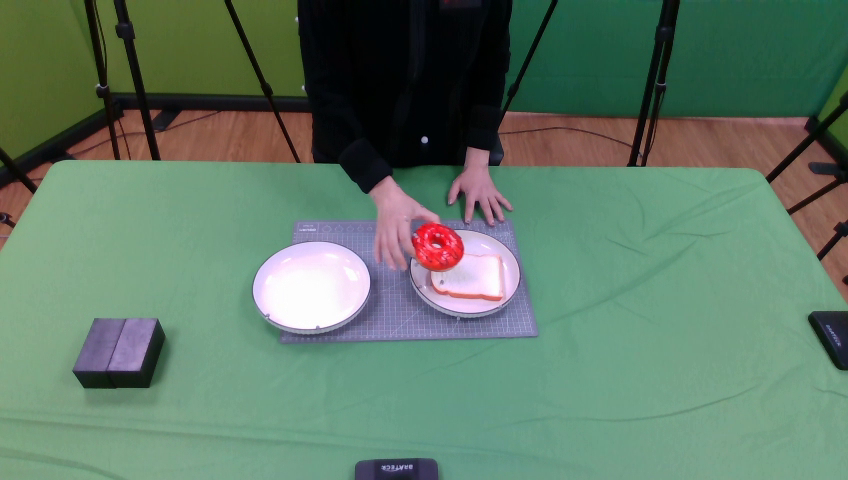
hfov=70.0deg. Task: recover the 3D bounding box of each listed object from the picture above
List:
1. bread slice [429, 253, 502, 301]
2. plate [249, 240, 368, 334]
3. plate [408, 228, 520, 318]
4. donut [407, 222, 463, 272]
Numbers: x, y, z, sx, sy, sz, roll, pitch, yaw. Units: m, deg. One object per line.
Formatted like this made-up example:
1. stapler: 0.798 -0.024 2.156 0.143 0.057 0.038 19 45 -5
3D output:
1. bread slice: 0.077 0.068 1.127 0.134 0.018 0.106 2 46 -4
2. plate: -0.204 0.086 1.084 0.208 0.039 0.206 2 46 -2
3. plate: 0.074 0.063 1.128 0.209 0.038 0.208 2 46 -2
4. donut: 0.019 0.013 1.055 0.099 0.048 0.098 8 51 -10
